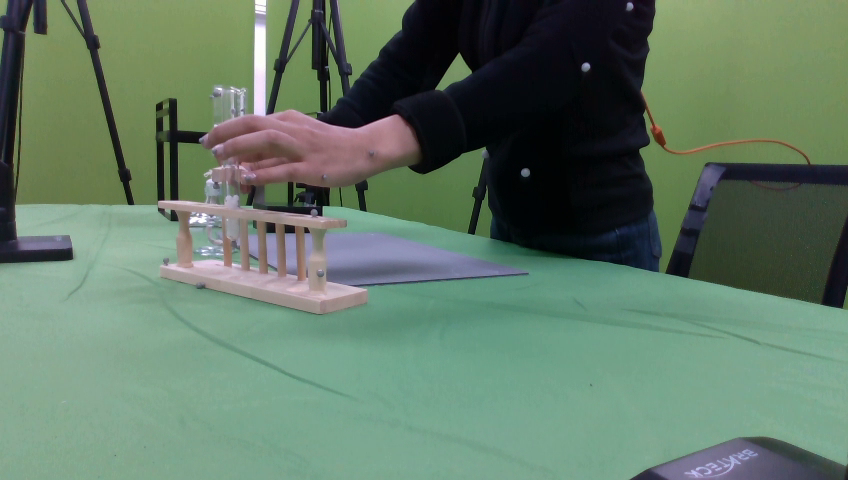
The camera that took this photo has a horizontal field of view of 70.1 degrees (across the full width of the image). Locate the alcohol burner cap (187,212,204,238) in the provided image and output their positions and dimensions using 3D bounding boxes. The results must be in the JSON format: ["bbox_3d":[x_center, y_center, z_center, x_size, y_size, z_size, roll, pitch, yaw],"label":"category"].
[{"bbox_3d":[-0.390,-0.029,1.025,0.034,0.048,0.034,2,9,0],"label":"alcohol burner cap"}]

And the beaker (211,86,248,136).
[{"bbox_3d":[-0.414,-0.274,1.297,0.074,0.100,0.083,-5,11,-44],"label":"beaker"}]

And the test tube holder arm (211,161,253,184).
[{"bbox_3d":[-0.215,-0.079,0.688,0.013,0.015,0.178,11,9,-9],"label":"test tube holder arm"}]

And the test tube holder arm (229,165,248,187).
[{"bbox_3d":[-0.200,-0.069,0.647,0.010,0.015,0.087,7,11,-26],"label":"test tube holder arm"}]

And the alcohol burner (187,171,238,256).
[{"bbox_3d":[-0.297,-0.038,0.850,0.078,0.119,0.078,1,6,0],"label":"alcohol burner"}]

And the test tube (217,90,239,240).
[{"bbox_3d":[-0.196,-0.074,0.608,0.017,0.150,0.017,1,10,0],"label":"test tube"}]

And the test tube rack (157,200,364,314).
[{"bbox_3d":[-0.174,0.009,0.624,0.241,0.085,0.067,7,9,34],"label":"test tube rack"}]
